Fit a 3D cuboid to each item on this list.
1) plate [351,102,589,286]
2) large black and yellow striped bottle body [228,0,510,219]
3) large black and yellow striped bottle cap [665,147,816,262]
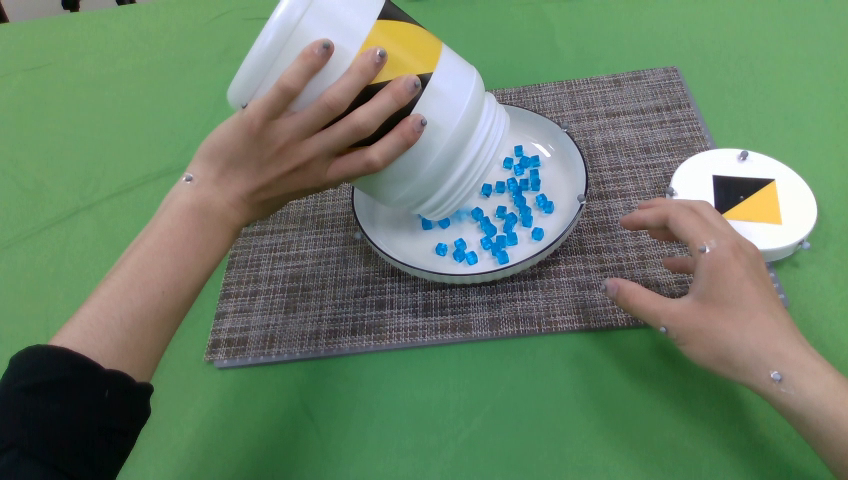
[{"bbox_3d":[0.040,-0.042,0.540,0.207,0.039,0.205,-5,52,6],"label":"plate"},{"bbox_3d":[-0.037,-0.108,0.465,0.185,0.131,0.130,32,53,-20],"label":"large black and yellow striped bottle body"},{"bbox_3d":[0.263,-0.033,0.506,0.115,0.019,0.114,-2,53,3],"label":"large black and yellow striped bottle cap"}]
